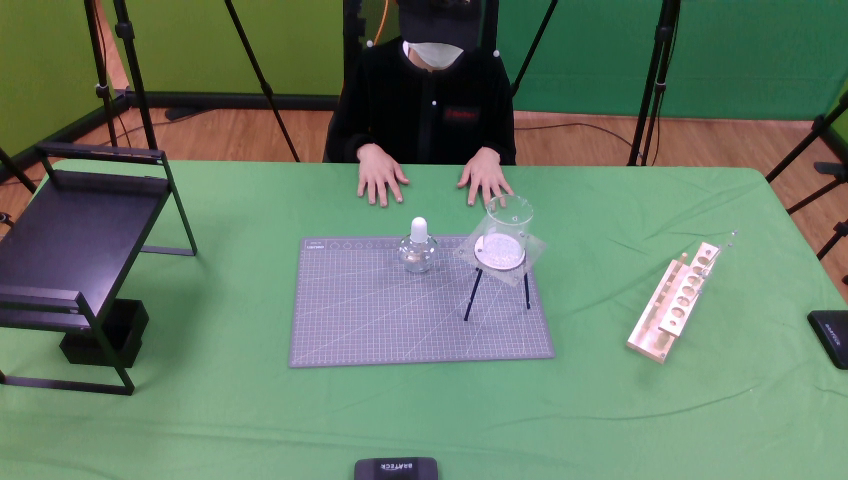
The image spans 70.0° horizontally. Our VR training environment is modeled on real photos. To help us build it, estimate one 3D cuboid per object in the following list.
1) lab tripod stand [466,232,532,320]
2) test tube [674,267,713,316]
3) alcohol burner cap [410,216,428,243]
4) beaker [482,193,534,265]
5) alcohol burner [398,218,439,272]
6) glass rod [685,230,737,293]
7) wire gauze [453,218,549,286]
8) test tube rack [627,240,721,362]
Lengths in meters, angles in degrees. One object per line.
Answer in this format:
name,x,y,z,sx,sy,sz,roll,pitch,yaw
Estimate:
lab tripod stand,0.125,0.059,1.065,0.148,0.132,0.147,1,45,0
test tube,0.445,0.098,1.017,0.017,0.151,0.017,4,48,-4
alcohol burner cap,-0.009,-0.022,1.099,0.034,0.048,0.033,2,41,-1
beaker,0.135,-0.016,0.979,0.073,0.101,0.084,35,52,28
alcohol burner,-0.010,0.004,1.124,0.078,0.120,0.077,1,47,0
glass rod,0.495,0.042,1.051,0.008,0.200,0.008,2,55,-2
wire gauze,0.129,0.014,1.019,0.124,0.011,0.121,26,47,25
test tube rack,0.452,0.098,1.087,0.066,0.085,0.242,28,51,22
